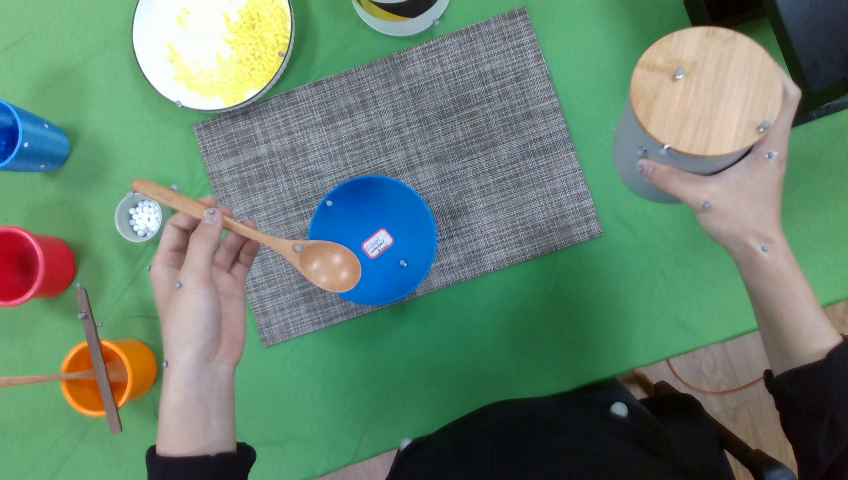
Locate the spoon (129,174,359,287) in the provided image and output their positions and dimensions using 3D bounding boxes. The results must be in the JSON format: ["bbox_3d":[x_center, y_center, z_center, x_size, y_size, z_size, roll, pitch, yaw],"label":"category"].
[{"bbox_3d":[-0.144,-0.011,0.495,0.195,0.021,0.041,25,97,-16],"label":"spoon"}]

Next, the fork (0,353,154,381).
[{"bbox_3d":[-0.432,0.155,0.718,0.209,0.018,0.028,2,91,-39],"label":"fork"}]

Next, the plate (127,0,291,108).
[{"bbox_3d":[-0.268,-0.267,0.768,0.209,0.038,0.209,0,89,4],"label":"plate"}]

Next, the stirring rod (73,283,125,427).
[{"bbox_3d":[-0.382,0.135,0.711,0.014,0.006,0.176,-17,88,5],"label":"stirring rod"}]

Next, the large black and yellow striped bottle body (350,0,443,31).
[{"bbox_3d":[-0.040,-0.330,0.679,0.131,0.184,0.130,0,89,4],"label":"large black and yellow striped bottle body"}]

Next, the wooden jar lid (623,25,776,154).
[{"bbox_3d":[0.207,-0.114,0.464,0.108,0.021,0.108,-2,74,9],"label":"wooden jar lid"}]

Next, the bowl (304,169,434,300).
[{"bbox_3d":[-0.060,-0.005,0.725,0.151,0.077,0.151,0,89,4],"label":"bowl"}]

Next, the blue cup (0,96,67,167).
[{"bbox_3d":[-0.504,-0.128,0.750,0.092,0.100,0.092,0,90,6],"label":"blue cup"}]

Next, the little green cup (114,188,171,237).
[{"bbox_3d":[-0.355,-0.033,0.770,0.061,0.038,0.061,0,90,5],"label":"little green cup"}]

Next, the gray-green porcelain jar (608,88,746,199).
[{"bbox_3d":[0.217,-0.098,0.523,0.106,0.127,0.105,-2,75,9],"label":"gray-green porcelain jar"}]
